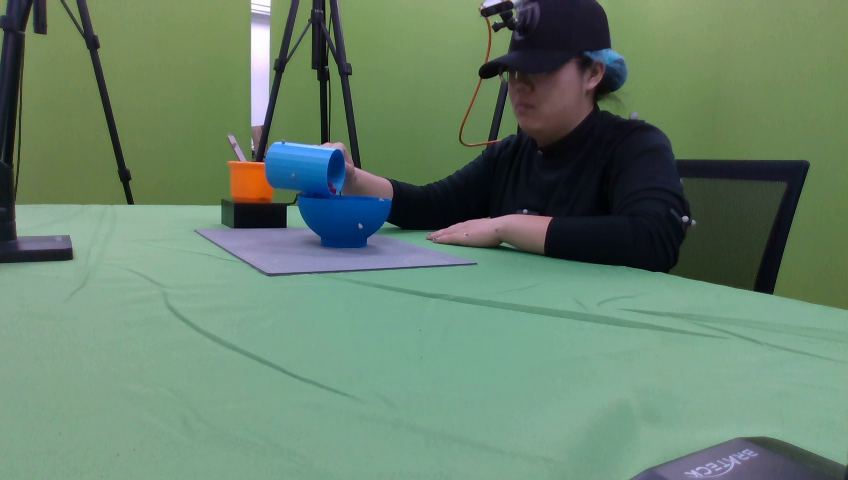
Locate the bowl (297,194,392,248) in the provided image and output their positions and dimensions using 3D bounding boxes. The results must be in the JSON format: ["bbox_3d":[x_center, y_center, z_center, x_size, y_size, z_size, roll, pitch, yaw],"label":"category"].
[{"bbox_3d":[-0.127,-0.030,0.964,0.151,0.077,0.151,2,7,0],"label":"bowl"}]

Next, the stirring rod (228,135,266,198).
[{"bbox_3d":[-0.352,-0.148,1.198,0.014,0.006,0.175,-6,54,-44],"label":"stirring rod"}]

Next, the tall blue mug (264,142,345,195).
[{"bbox_3d":[-0.188,-0.127,0.993,0.108,0.078,0.107,8,48,14],"label":"tall blue mug"}]
